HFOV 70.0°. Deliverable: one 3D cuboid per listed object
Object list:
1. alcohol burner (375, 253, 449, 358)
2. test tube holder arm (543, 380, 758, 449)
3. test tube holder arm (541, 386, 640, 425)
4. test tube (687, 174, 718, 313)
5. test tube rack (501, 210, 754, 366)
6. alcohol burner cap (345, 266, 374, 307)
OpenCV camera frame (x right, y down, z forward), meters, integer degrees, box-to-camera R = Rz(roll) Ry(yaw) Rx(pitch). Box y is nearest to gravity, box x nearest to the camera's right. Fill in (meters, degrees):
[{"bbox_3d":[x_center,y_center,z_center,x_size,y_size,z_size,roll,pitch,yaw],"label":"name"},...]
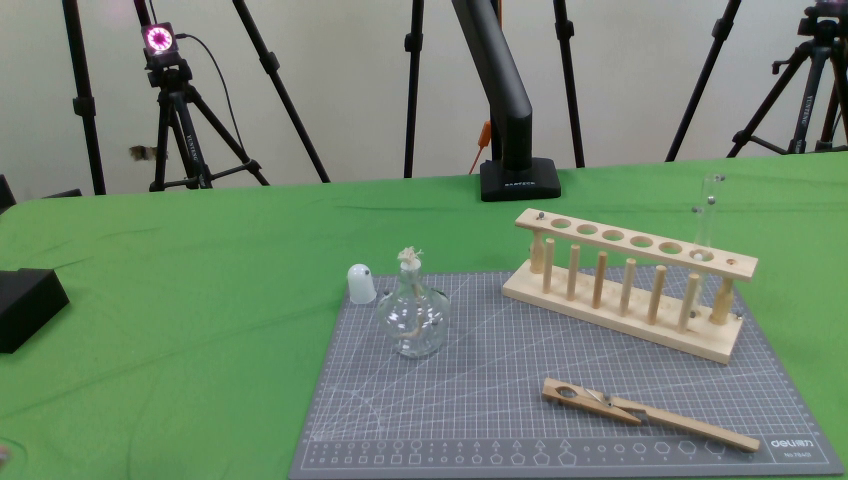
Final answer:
[{"bbox_3d":[-0.013,0.062,0.619,0.078,0.120,0.077,-3,33,2],"label":"alcohol burner"},{"bbox_3d":[0.192,0.151,0.528,0.177,0.015,0.013,9,68,22],"label":"test tube holder arm"},{"bbox_3d":[0.149,0.149,0.543,0.087,0.015,0.010,10,69,23],"label":"test tube holder arm"},{"bbox_3d":[0.269,0.007,0.592,0.017,0.151,0.017,-4,28,3],"label":"test tube"},{"bbox_3d":[0.203,0.043,0.641,0.240,0.086,0.066,15,38,31],"label":"test tube rack"},{"bbox_3d":[-0.077,0.052,0.715,0.034,0.048,0.033,-3,32,2],"label":"alcohol burner cap"}]
